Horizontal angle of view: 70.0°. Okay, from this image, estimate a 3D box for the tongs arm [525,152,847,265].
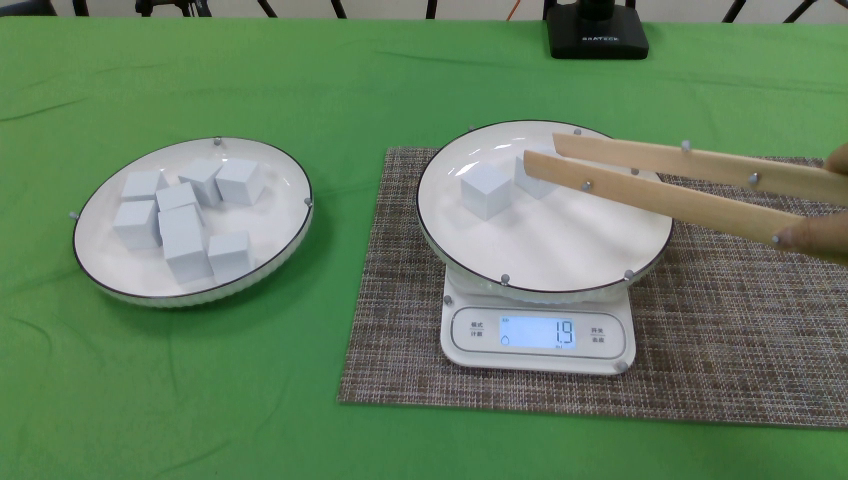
[{"bbox_3d":[0.216,-0.014,0.377,0.028,0.028,0.384,-32,36,-32],"label":"tongs arm"}]

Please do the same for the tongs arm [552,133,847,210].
[{"bbox_3d":[0.235,-0.027,0.390,0.381,0.027,0.051,18,44,41],"label":"tongs arm"}]

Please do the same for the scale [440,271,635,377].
[{"bbox_3d":[0.093,0.020,0.513,0.148,0.032,0.199,3,47,5],"label":"scale"}]

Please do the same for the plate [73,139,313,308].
[{"bbox_3d":[-0.204,-0.016,0.558,0.209,0.038,0.207,0,47,1],"label":"plate"}]

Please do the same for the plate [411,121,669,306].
[{"bbox_3d":[0.094,-0.023,0.509,0.208,0.039,0.205,0,47,0],"label":"plate"}]
